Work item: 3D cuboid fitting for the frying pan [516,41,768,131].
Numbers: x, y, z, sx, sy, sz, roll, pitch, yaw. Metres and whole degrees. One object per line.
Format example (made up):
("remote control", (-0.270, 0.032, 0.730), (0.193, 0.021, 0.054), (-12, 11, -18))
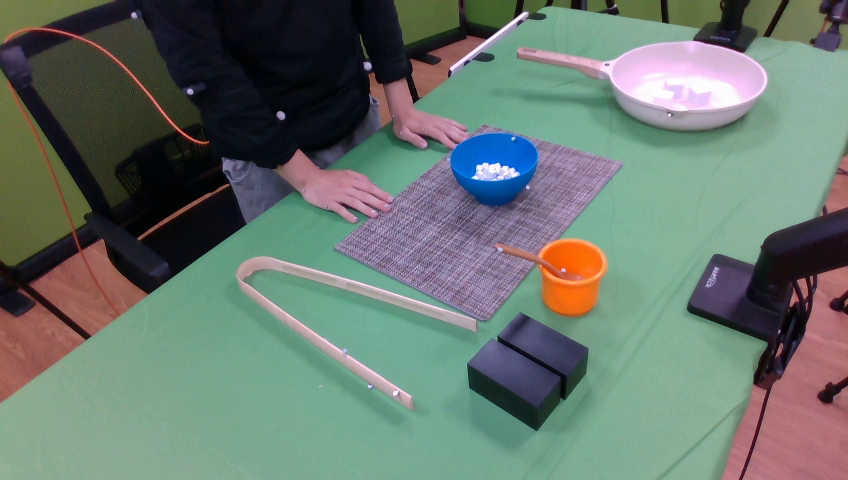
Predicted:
("frying pan", (0.424, -0.338, 1.236), (0.486, 0.103, 0.307), (19, 45, 15))

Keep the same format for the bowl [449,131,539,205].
("bowl", (0.121, -0.114, 1.034), (0.151, 0.077, 0.150), (-4, 41, 4))

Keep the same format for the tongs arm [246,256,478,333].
("tongs arm", (-0.101, 0.077, 0.891), (0.385, 0.028, 0.028), (14, 47, 22))

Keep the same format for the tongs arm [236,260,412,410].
("tongs arm", (-0.148, 0.120, 0.840), (0.381, 0.026, 0.051), (24, 48, 32))

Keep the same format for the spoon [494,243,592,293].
("spoon", (0.162, 0.034, 0.808), (0.021, 0.195, 0.041), (-47, 40, 21))
